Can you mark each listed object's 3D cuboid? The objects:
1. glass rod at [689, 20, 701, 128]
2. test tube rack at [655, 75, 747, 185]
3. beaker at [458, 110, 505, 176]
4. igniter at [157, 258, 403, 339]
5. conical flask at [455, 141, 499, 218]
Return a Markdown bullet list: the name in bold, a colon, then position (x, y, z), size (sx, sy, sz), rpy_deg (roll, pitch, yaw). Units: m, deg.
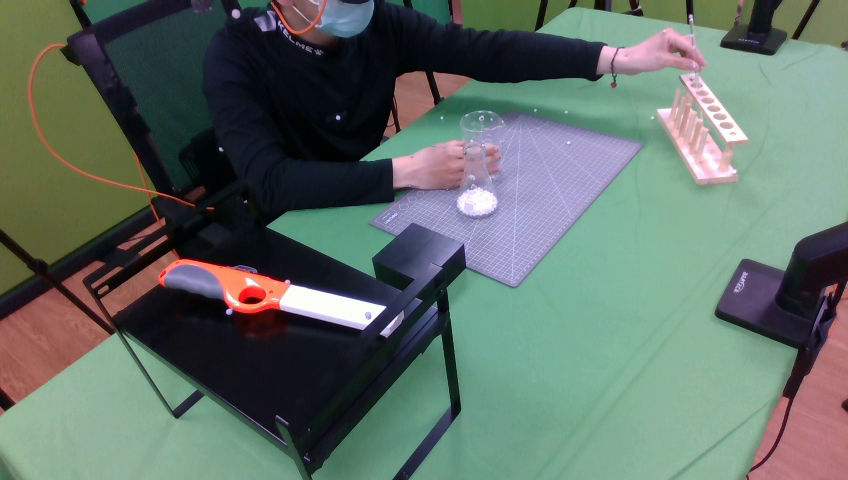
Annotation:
- **glass rod**: position (0.488, -0.294, 1.088), size (0.008, 0.200, 0.008), rpy_deg (-14, 26, 7)
- **test tube rack**: position (0.491, -0.205, 1.092), size (0.067, 0.085, 0.241), rpy_deg (-4, 40, 3)
- **beaker**: position (0.106, -0.174, 1.097), size (0.084, 0.101, 0.074), rpy_deg (5, 42, 13)
- **igniter**: position (-0.157, 0.059, 0.638), size (0.275, 0.025, 0.057), rpy_deg (11, 43, 14)
- **conical flask**: position (0.085, -0.103, 0.999), size (0.075, 0.122, 0.075), rpy_deg (-4, 40, 4)
